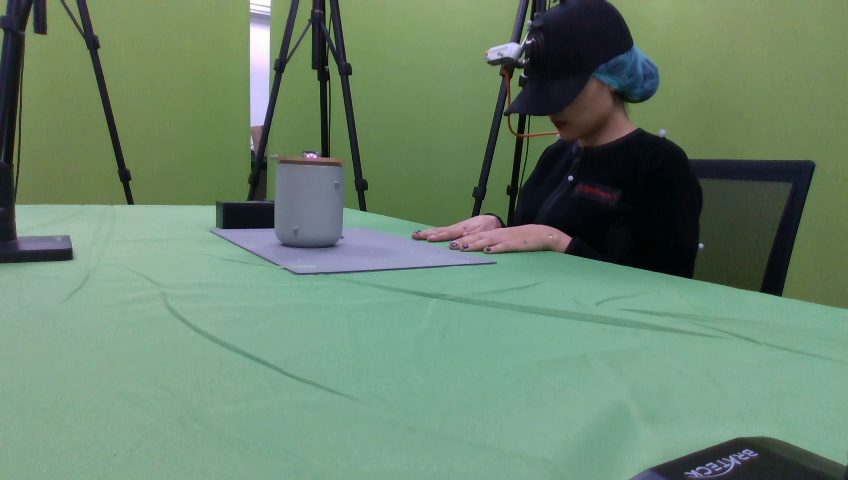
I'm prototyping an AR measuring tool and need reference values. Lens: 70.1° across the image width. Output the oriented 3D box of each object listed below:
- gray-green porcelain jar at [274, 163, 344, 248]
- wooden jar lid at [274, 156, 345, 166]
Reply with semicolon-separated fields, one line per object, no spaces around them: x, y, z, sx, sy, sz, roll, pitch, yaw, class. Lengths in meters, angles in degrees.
-0.180;-0.055;0.945;0.106;0.126;0.106;2;7;0;gray-green porcelain jar
-0.177;-0.119;0.936;0.108;0.020;0.108;2;8;0;wooden jar lid
